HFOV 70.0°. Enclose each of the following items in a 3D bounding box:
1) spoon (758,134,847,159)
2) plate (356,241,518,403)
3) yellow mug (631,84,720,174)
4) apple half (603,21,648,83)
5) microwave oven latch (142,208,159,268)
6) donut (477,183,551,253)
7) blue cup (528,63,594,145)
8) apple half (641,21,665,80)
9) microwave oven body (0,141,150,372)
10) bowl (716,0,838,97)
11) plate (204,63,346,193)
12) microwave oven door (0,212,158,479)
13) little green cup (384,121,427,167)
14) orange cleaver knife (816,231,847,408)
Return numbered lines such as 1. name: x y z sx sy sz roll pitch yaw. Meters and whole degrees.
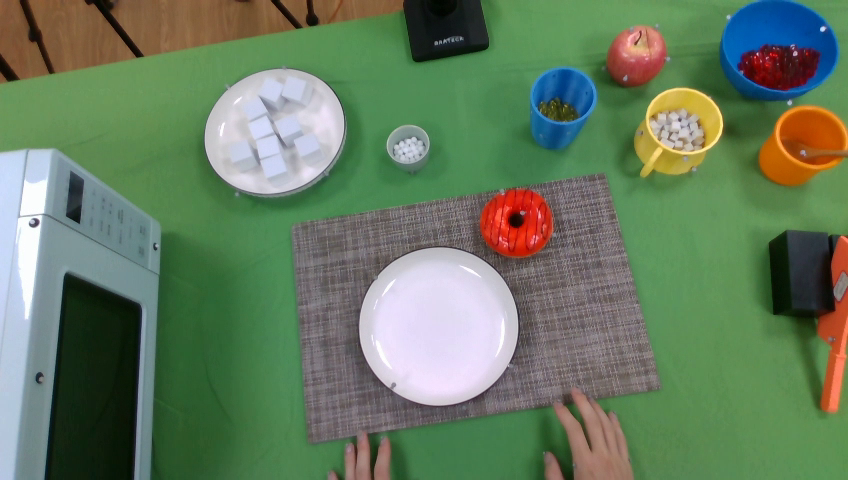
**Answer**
1. spoon: 0.517 -0.112 0.760 0.041 0.192 0.022 -50 119 -11
2. plate: 0.017 0.105 0.785 0.209 0.038 0.208 -1 73 4
3. yellow mug: 0.332 -0.142 0.827 0.099 0.064 0.130 38 80 15
4. apple half: 0.284 -0.265 0.866 0.053 0.075 0.080 -5 75 6
5. microwave oven latch: -0.383 -0.002 0.833 0.030 0.030 0.078 -5 73 3
6. donut: 0.121 -0.029 0.816 0.099 0.048 0.098 -1 75 5
7. blue cup: 0.181 -0.178 0.832 0.092 0.101 0.092 -1 74 3
8. apple half: 0.323 -0.269 0.862 0.033 0.082 0.081 -4 72 7
9. microwave oven body: -0.523 0.152 0.695 0.326 0.262 0.439 -6 73 2
10. bowl: 0.476 -0.257 0.845 0.151 0.077 0.150 -1 73 5
11. plate: -0.215 -0.162 0.890 0.207 0.039 0.206 -1 72 4
12. microwave oven door: -0.374 0.174 0.671 0.039 0.245 0.353 -7 72 3
13. little green cup: -0.024 -0.135 0.867 0.061 0.039 0.061 -1 72 5
14. orange cleaver knife: 0.494 0.096 0.731 0.012 0.077 0.212 5 102 8
